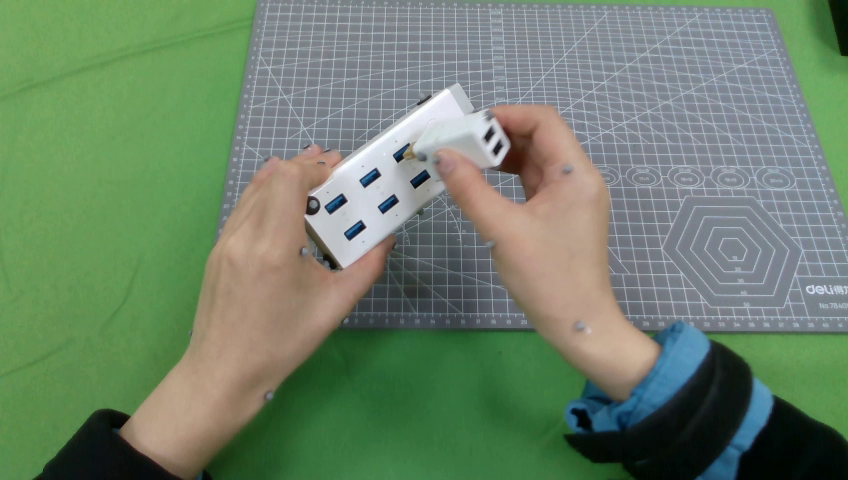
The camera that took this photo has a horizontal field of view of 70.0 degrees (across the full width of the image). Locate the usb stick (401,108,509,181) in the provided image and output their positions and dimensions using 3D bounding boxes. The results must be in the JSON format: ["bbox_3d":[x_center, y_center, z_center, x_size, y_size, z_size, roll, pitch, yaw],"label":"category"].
[{"bbox_3d":[0.014,-0.049,0.327,0.059,0.027,0.021,-6,40,41],"label":"usb stick"}]

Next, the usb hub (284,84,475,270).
[{"bbox_3d":[-0.017,-0.039,0.357,0.125,0.025,0.050,-39,108,-19],"label":"usb hub"}]
